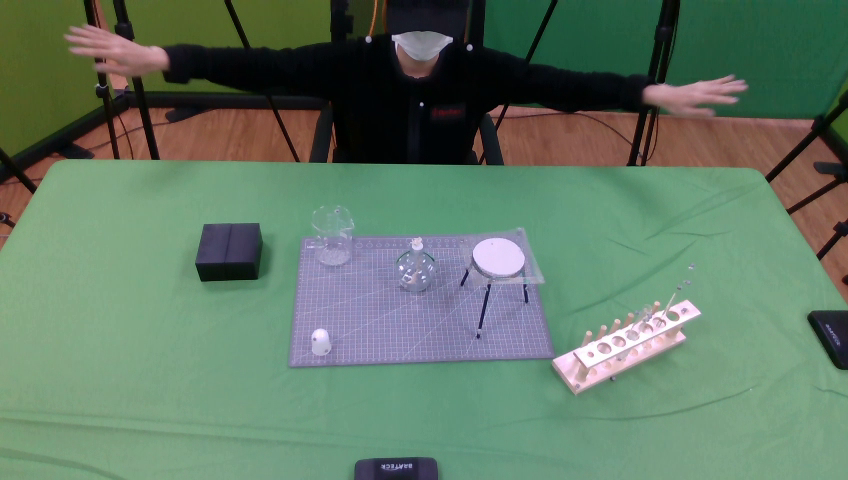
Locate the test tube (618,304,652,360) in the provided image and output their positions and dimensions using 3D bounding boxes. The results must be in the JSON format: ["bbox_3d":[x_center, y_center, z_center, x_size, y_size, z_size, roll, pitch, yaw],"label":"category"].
[{"bbox_3d":[0.335,0.149,0.967,0.017,0.151,0.017,1,50,0],"label":"test tube"}]

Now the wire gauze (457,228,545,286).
[{"bbox_3d":[0.126,0.029,1.006,0.125,0.011,0.120,-4,46,-10],"label":"wire gauze"}]

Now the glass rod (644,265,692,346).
[{"bbox_3d":[0.395,0.112,0.985,0.008,0.200,0.008,4,43,-3],"label":"glass rod"}]

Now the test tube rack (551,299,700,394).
[{"bbox_3d":[0.339,0.166,1.021,0.242,0.085,0.066,-19,50,-21],"label":"test tube rack"}]

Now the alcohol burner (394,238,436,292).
[{"bbox_3d":[-0.016,0.038,1.093,0.078,0.119,0.077,2,48,-2],"label":"alcohol burner"}]

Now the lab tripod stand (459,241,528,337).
[{"bbox_3d":[0.122,0.075,1.054,0.148,0.132,0.147,3,44,-3],"label":"lab tripod stand"}]

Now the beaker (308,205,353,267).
[{"bbox_3d":[-0.171,-0.004,1.132,0.084,0.101,0.073,16,47,10],"label":"beaker"}]

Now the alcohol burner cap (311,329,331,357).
[{"bbox_3d":[-0.173,0.168,1.004,0.034,0.048,0.033,2,46,-2],"label":"alcohol burner cap"}]
